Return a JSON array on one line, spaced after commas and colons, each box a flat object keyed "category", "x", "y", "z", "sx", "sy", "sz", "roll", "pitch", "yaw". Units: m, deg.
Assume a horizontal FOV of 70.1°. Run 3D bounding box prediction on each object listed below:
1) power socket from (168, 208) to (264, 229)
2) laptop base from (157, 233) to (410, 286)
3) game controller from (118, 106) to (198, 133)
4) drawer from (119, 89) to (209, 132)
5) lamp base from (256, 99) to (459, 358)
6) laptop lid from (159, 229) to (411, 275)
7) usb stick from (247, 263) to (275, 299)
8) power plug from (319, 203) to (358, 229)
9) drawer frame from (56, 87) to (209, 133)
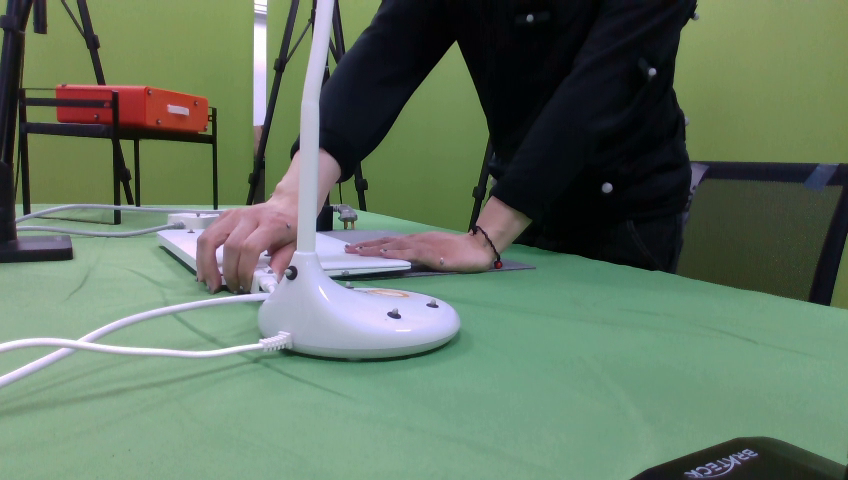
[{"category": "power socket", "x": -0.381, "y": -0.038, "z": 1.128, "sx": 0.072, "sy": 0.032, "sz": 0.227, "roll": 4, "pitch": 8, "yaw": 16}, {"category": "laptop base", "x": -0.204, "y": 0.020, "z": 0.806, "sx": 0.237, "sy": 0.023, "sz": 0.352, "roll": 0, "pitch": 7, "yaw": -33}, {"category": "game controller", "x": -0.555, "y": -0.251, "z": 1.255, "sx": 0.097, "sy": 0.051, "sz": 0.155, "roll": 8, "pitch": 12, "yaw": 18}, {"category": "drawer", "x": -0.595, "y": -0.267, "z": 1.263, "sx": 0.211, "sy": 0.073, "sz": 0.195, "roll": 3, "pitch": 8, "yaw": 15}, {"category": "lamp base", "x": -0.055, "y": -0.013, "z": 0.463, "sx": 0.160, "sy": 0.180, "sz": 0.180, "roll": 6, "pitch": 11, "yaw": 27}, {"category": "laptop lid", "x": -0.202, "y": 0.008, "z": 0.806, "sx": 0.243, "sy": 0.013, "sz": 0.355, "roll": -1, "pitch": 8, "yaw": -31}, {"category": "usb stick", "x": -0.163, "y": 0.039, "z": 0.602, "sx": 0.021, "sy": 0.027, "sz": 0.059, "roll": -1, "pitch": 9, "yaw": -23}, {"category": "power plug", "x": -0.169, "y": -0.046, "z": 1.209, "sx": 0.072, "sy": 0.052, "sz": 0.035, "roll": -5, "pitch": -14, "yaw": -4}, {"category": "drawer frame", "x": -0.598, "y": -0.269, "z": 1.261, "sx": 0.213, "sy": 0.082, "sz": 0.202, "roll": 4, "pitch": 8, "yaw": 14}]
